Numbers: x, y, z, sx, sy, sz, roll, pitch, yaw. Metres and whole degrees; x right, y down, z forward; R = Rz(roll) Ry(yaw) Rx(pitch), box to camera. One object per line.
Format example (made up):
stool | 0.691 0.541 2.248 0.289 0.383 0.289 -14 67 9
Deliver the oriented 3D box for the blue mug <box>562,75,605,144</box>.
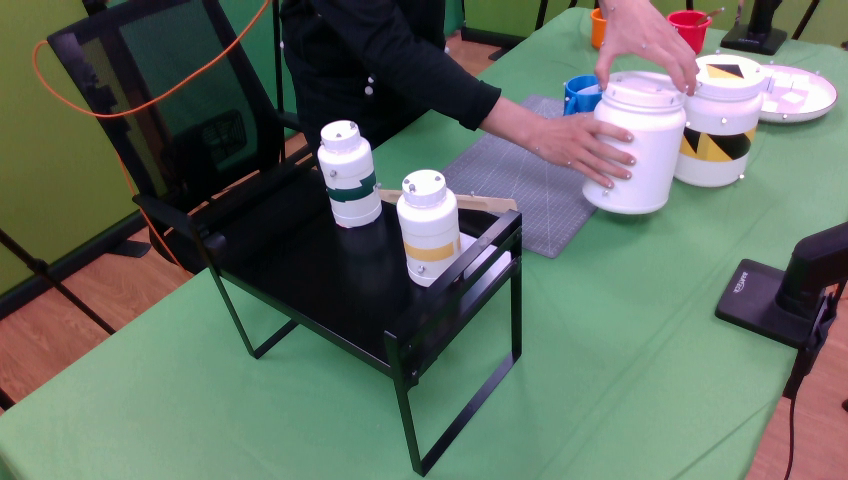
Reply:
blue mug | 0.298 -0.239 1.143 0.117 0.106 0.081 -37 48 -29

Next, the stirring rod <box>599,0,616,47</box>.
stirring rod | 0.437 -0.551 1.462 0.014 0.006 0.175 -11 83 1

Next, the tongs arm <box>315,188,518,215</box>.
tongs arm | -0.028 -0.060 0.988 0.382 0.027 0.051 10 45 36

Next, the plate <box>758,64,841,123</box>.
plate | 0.695 -0.283 1.189 0.207 0.039 0.206 -4 40 4

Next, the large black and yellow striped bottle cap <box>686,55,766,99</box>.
large black and yellow striped bottle cap | 0.474 -0.258 0.952 0.115 0.019 0.114 -5 41 5

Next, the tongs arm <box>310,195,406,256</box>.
tongs arm | -0.078 -0.012 0.944 0.028 0.028 0.384 -43 39 -22

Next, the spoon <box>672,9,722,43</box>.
spoon | 0.606 -0.476 1.345 0.042 0.021 0.193 -6 -3 -2

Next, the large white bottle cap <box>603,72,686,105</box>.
large white bottle cap | 0.320 -0.221 0.879 0.115 0.018 0.114 1 31 0

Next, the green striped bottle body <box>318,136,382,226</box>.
green striped bottle body | -0.090 -0.080 0.733 0.063 0.120 0.063 -5 41 4

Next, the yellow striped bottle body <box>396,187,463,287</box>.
yellow striped bottle body | 0.006 -0.013 0.638 0.063 0.121 0.062 -5 41 4

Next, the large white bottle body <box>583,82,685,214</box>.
large white bottle body | 0.320 -0.147 0.924 0.131 0.185 0.130 0 32 0

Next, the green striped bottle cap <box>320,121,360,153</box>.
green striped bottle cap | -0.097 -0.119 0.699 0.044 0.020 0.044 -4 39 3

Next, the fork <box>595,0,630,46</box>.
fork | 0.480 -0.556 1.453 0.028 0.019 0.207 41 103 40

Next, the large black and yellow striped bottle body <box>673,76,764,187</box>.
large black and yellow striped bottle body | 0.482 -0.196 1.007 0.131 0.185 0.130 -4 41 4

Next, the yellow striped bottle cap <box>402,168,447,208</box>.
yellow striped bottle cap | 0.000 -0.052 0.604 0.044 0.019 0.044 -4 43 5
